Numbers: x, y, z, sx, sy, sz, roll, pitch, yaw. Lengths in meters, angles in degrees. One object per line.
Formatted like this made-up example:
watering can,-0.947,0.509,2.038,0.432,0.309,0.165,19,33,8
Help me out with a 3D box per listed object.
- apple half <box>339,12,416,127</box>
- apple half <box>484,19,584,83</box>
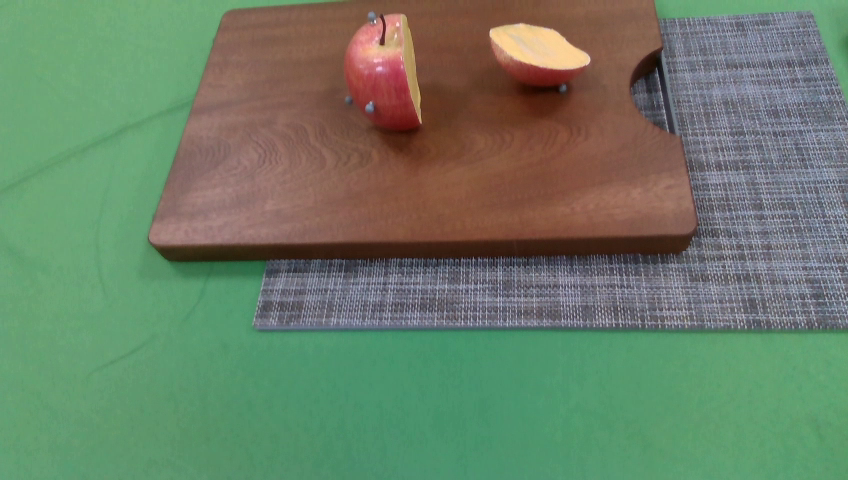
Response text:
apple half,-0.037,-0.127,0.467,0.053,0.075,0.080,-9,62,8
apple half,0.080,-0.143,0.478,0.081,0.033,0.080,8,43,-7
